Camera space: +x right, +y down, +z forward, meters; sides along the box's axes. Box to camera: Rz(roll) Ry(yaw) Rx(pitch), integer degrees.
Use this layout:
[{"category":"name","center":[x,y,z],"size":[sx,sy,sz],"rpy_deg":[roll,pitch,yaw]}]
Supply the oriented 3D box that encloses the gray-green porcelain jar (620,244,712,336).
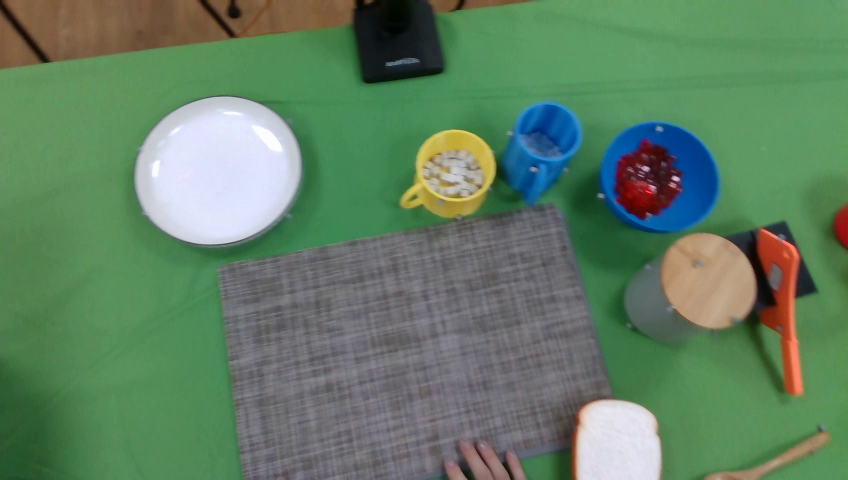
[{"category":"gray-green porcelain jar","center":[0.305,0.060,0.734],"size":[0.106,0.127,0.105],"rpy_deg":[1,73,-4]}]

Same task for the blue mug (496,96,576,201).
[{"category":"blue mug","center":[0.140,-0.108,0.782],"size":[0.082,0.106,0.116],"rpy_deg":[9,73,-1]}]

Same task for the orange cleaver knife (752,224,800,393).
[{"category":"orange cleaver knife","center":[0.438,0.086,0.758],"size":[0.012,0.077,0.212],"rpy_deg":[-12,101,-7]}]

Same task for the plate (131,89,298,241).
[{"category":"plate","center":[-0.267,-0.095,0.786],"size":[0.208,0.039,0.206],"rpy_deg":[1,74,-3]}]

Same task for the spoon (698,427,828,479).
[{"category":"spoon","center":[0.415,0.269,0.734],"size":[0.194,0.022,0.041],"rpy_deg":[-21,59,-9]}]

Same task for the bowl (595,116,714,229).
[{"category":"bowl","center":[0.290,-0.077,0.797],"size":[0.151,0.077,0.150],"rpy_deg":[1,74,-3]}]

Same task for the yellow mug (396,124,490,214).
[{"category":"yellow mug","center":[0.020,-0.083,0.787],"size":[0.131,0.064,0.099],"rpy_deg":[-31,77,-11]}]

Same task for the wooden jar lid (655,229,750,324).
[{"category":"wooden jar lid","center":[0.307,0.041,0.674],"size":[0.108,0.021,0.108],"rpy_deg":[2,76,-6]}]
